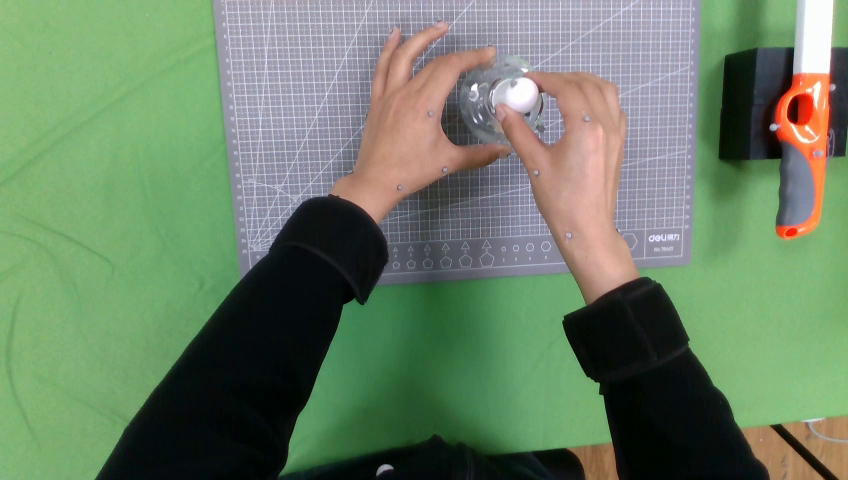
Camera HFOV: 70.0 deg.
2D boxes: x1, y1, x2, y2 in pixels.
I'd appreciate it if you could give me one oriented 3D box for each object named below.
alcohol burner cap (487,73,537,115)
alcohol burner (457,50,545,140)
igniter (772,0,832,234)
[{"bbox_3d":[0.073,-0.119,0.488,0.034,0.047,0.034,-2,100,-12],"label":"alcohol burner cap"},{"bbox_3d":[0.070,-0.124,0.517,0.078,0.118,0.078,-2,100,-9],"label":"alcohol burner"},{"bbox_3d":[0.347,-0.143,0.551,0.057,0.025,0.277,-1,97,-7],"label":"igniter"}]
